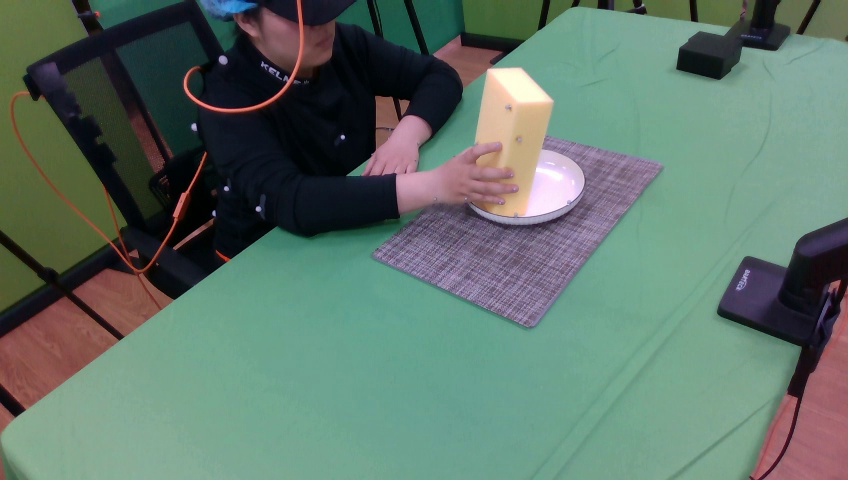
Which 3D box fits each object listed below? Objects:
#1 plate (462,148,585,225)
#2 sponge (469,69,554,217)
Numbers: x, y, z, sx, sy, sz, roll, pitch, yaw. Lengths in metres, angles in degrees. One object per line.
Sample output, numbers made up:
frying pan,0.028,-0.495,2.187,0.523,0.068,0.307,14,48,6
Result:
plate,0.170,-0.089,1.041,0.207,0.039,0.206,-5,40,5
sponge,0.134,-0.153,0.973,0.061,0.207,0.117,-7,39,-18
